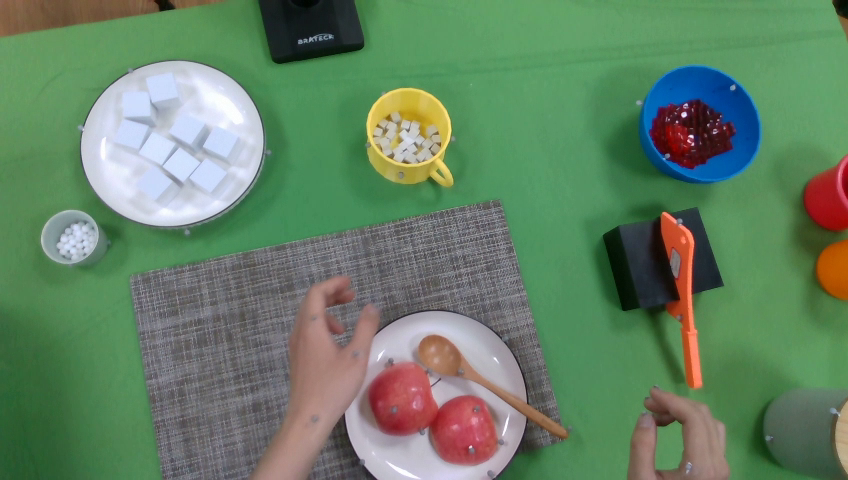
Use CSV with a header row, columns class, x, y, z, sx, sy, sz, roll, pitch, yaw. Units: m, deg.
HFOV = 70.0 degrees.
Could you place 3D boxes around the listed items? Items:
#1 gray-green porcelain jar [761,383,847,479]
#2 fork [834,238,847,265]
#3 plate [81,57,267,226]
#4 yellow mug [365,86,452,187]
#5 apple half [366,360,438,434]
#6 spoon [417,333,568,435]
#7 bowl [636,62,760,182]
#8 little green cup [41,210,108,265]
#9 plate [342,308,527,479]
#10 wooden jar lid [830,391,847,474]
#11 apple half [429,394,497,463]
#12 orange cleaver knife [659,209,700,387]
class,x,y,z,sx,sy,sz,roll,pitch,yaw
gray-green porcelain jar,0.461,0.216,0.686,0.106,0.127,0.105,1,78,-5
fork,0.547,0.063,0.713,0.028,0.019,0.205,10,34,-10
plate,-0.290,-0.115,0.721,0.208,0.039,0.206,1,79,-5
yellow mug,-0.011,-0.116,0.735,0.100,0.064,0.130,-42,86,-12
apple half,-0.025,0.175,0.671,0.075,0.053,0.080,-16,80,-6
spoon,0.076,0.166,0.684,0.193,0.022,0.041,30,67,13
bowl,0.331,-0.138,0.768,0.151,0.077,0.150,1,79,-5
little green cup,-0.392,0.000,0.685,0.062,0.039,0.061,1,79,-7
plate,0.011,0.182,0.689,0.209,0.038,0.208,1,79,-6
wooden jar lid,0.466,0.202,0.626,0.108,0.021,0.108,1,81,-6
apple half,0.045,0.213,0.679,0.081,0.033,0.081,1,76,-4
orange cleaver knife,0.303,0.069,0.721,0.012,0.077,0.212,-11,104,-4
